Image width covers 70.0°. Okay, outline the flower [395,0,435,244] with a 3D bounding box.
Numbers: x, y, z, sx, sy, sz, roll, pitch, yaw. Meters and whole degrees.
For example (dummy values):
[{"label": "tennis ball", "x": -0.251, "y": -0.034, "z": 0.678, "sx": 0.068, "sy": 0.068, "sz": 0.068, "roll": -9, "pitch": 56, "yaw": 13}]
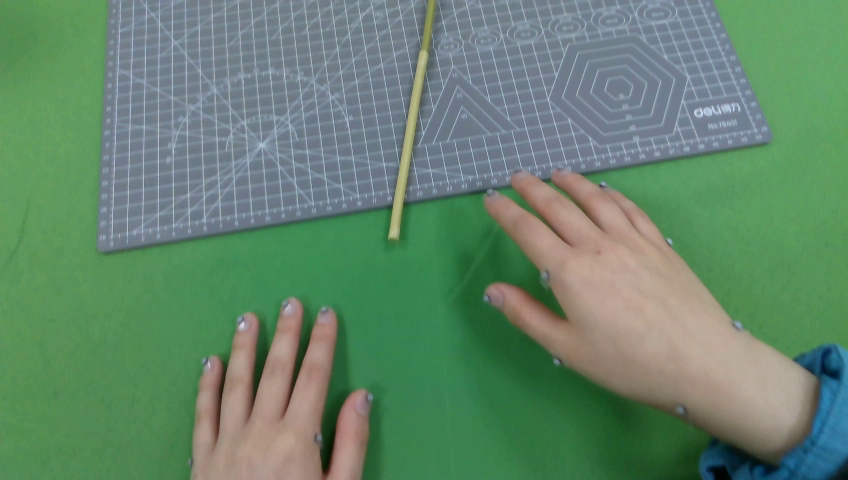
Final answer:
[{"label": "flower", "x": 0.003, "y": -0.169, "z": 0.445, "sx": 0.044, "sy": 0.038, "sz": 0.359, "roll": 17, "pitch": 71, "yaw": -31}]
